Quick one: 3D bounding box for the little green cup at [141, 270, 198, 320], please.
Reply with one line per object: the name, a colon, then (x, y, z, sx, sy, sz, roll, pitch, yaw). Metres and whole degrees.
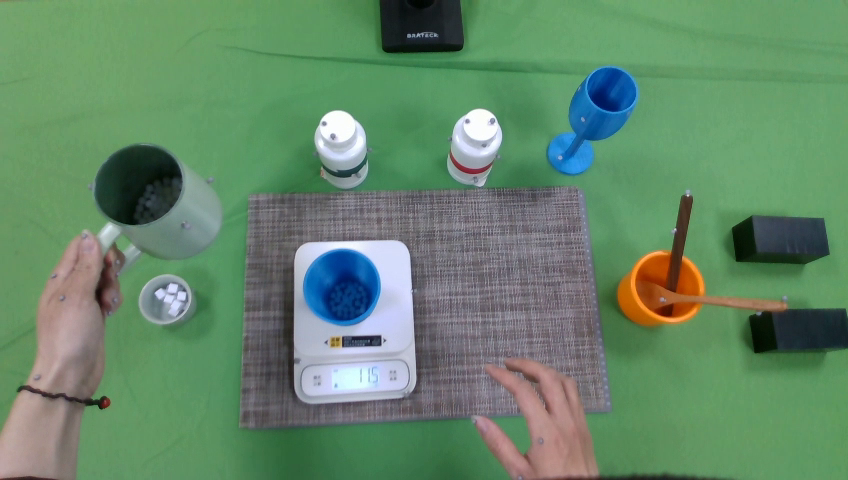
little green cup: (-0.313, 0.070, 0.751, 0.061, 0.039, 0.061, 1, 73, -4)

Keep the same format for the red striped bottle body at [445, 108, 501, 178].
red striped bottle body: (0.063, -0.130, 0.788, 0.063, 0.120, 0.062, 1, 74, -3)

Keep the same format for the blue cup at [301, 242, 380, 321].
blue cup: (-0.092, 0.055, 0.701, 0.093, 0.100, 0.092, 1, 76, -3)

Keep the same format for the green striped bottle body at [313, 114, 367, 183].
green striped bottle body: (-0.107, -0.122, 0.776, 0.063, 0.120, 0.063, 1, 74, -3)

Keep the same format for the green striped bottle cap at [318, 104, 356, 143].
green striped bottle cap: (-0.104, -0.139, 0.722, 0.044, 0.020, 0.044, 1, 74, -2)

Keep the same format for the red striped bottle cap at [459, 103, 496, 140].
red striped bottle cap: (0.066, -0.145, 0.737, 0.044, 0.018, 0.044, 1, 71, -2)

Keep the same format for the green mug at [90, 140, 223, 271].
green mug: (-0.256, -0.024, 0.565, 0.092, 0.105, 0.125, 35, 77, 5)

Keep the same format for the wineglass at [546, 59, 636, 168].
wineglass: (0.209, -0.156, 0.776, 0.074, 0.173, 0.073, 1, 74, -2)

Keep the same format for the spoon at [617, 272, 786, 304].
spoon: (0.329, 0.064, 0.735, 0.022, 0.192, 0.041, 21, 77, -42)

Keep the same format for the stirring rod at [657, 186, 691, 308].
stirring rod: (0.307, 0.014, 0.747, 0.014, 0.177, 0.006, 3, 33, 11)

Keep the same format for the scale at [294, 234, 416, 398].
scale: (-0.088, 0.091, 0.759, 0.149, 0.032, 0.199, -3, 75, -4)
